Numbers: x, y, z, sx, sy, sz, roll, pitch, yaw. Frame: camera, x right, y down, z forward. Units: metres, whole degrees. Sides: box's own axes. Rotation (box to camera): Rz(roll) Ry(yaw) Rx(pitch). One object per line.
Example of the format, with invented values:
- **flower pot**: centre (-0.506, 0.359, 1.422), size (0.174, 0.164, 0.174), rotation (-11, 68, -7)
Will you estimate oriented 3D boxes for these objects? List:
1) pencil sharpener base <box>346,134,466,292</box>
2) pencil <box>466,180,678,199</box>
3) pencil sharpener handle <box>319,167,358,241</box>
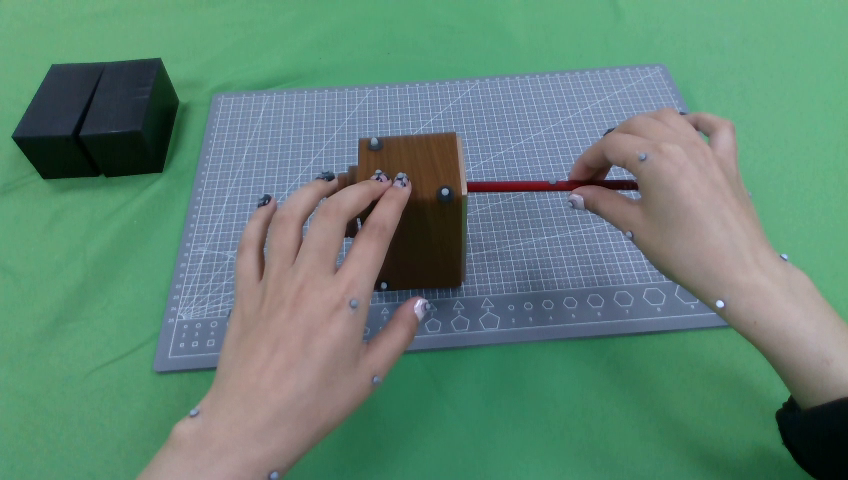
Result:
- **pencil sharpener base**: centre (-0.011, -0.015, 0.428), size (0.077, 0.108, 0.061), rotation (-3, 52, 0)
- **pencil**: centre (0.075, -0.033, 0.408), size (0.194, 0.012, 0.012), rotation (-1, 52, -1)
- **pencil sharpener handle**: centre (-0.062, -0.021, 0.418), size (0.030, 0.068, 0.035), rotation (-3, 55, 0)
